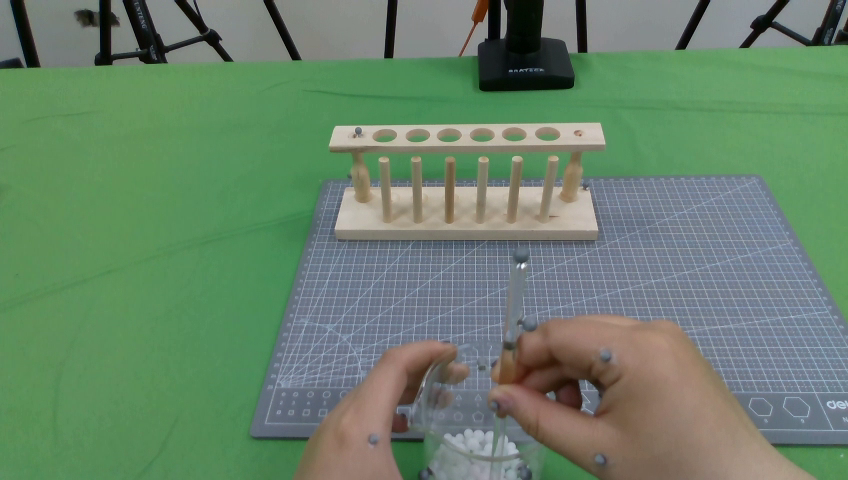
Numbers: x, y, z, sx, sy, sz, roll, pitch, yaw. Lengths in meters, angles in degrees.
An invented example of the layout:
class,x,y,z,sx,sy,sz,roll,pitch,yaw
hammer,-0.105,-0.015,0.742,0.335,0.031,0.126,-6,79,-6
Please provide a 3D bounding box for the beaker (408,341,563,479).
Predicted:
class,x,y,z,sx,sy,sz,roll,pitch,yaw
beaker,0.032,0.120,0.351,0.084,0.101,0.073,-12,43,-13

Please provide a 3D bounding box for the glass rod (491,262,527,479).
class,x,y,z,sx,sy,sz,roll,pitch,yaw
glass rod,0.040,0.086,0.298,0.008,0.201,0.008,-1,40,1

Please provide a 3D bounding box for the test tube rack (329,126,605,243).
class,x,y,z,sx,sy,sz,roll,pitch,yaw
test tube rack,0.038,-0.050,0.558,0.242,0.086,0.066,0,43,4
